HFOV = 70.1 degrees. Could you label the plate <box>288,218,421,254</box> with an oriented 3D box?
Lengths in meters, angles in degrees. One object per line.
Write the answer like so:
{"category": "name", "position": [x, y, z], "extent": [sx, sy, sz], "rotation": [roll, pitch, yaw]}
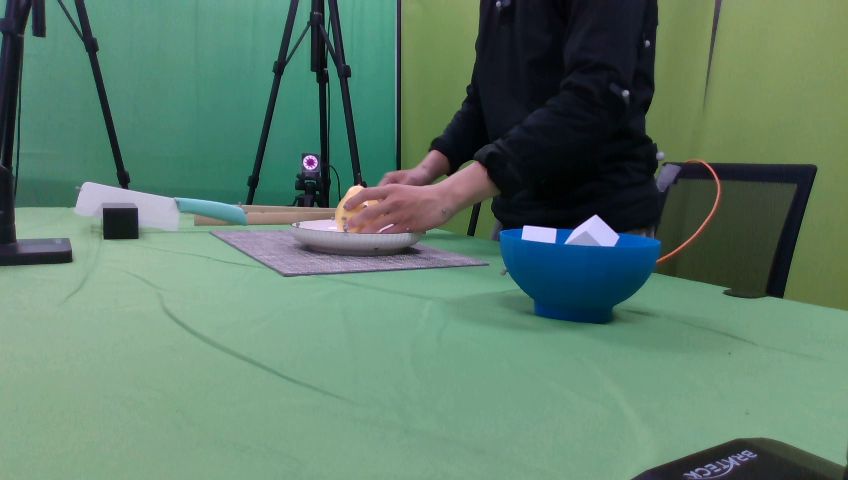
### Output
{"category": "plate", "position": [-0.109, -0.008, 0.956], "extent": [0.208, 0.039, 0.207], "rotation": [2, 7, 0]}

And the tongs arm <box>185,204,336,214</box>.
{"category": "tongs arm", "position": [-0.337, -0.065, 1.377], "extent": [0.387, 0.026, 0.050], "rotation": [0, 9, -25]}

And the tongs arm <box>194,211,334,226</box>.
{"category": "tongs arm", "position": [-0.298, -0.050, 1.308], "extent": [0.390, 0.028, 0.028], "rotation": [-3, 8, -38]}

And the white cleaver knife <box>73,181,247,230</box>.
{"category": "white cleaver knife", "position": [-0.465, -0.052, 1.090], "extent": [0.288, 0.066, 0.021], "rotation": [9, 7, -30]}

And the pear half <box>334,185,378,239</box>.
{"category": "pear half", "position": [-0.113, -0.045, 0.975], "extent": [0.071, 0.088, 0.031], "rotation": [-6, 12, -24]}

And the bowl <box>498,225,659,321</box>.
{"category": "bowl", "position": [0.144, 0.031, 0.585], "extent": [0.151, 0.077, 0.151], "rotation": [2, 7, 0]}

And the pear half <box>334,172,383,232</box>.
{"category": "pear half", "position": [-0.100, -0.050, 0.940], "extent": [0.077, 0.110, 0.055], "rotation": [-7, 11, -23]}
